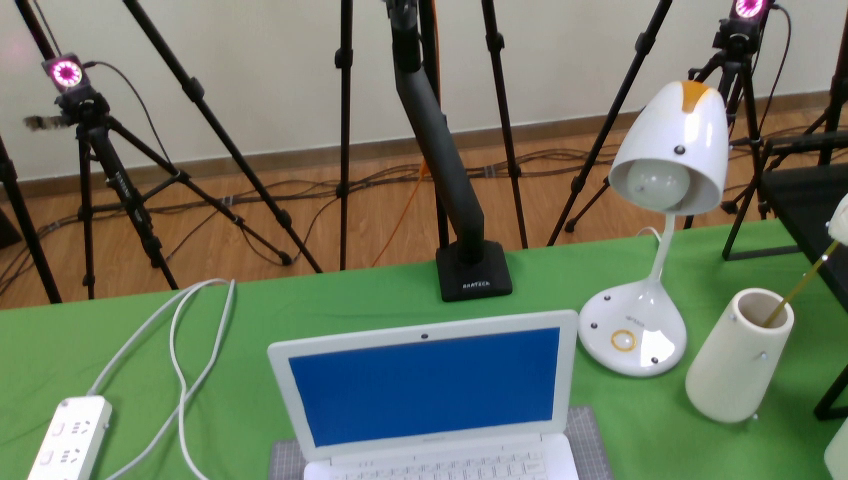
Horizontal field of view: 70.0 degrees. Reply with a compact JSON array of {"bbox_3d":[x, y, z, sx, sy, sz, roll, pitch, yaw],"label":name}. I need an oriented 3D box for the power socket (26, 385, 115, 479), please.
[{"bbox_3d":[-0.488,0.298,0.824,0.072,0.033,0.224,-3,45,0],"label":"power socket"}]

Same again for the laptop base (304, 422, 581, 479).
[{"bbox_3d":[0.027,0.351,0.741,0.354,0.023,0.233,-6,49,-1],"label":"laptop base"}]

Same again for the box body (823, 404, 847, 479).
[{"bbox_3d":[0.633,0.320,0.622,0.254,0.162,0.360,-5,46,0],"label":"box body"}]

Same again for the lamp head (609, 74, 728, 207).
[{"bbox_3d":[0.264,-0.108,0.635,0.112,0.113,0.122,16,68,20],"label":"lamp head"}]

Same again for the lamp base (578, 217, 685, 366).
[{"bbox_3d":[0.318,0.062,0.884,0.159,0.182,0.178,19,48,22],"label":"lamp base"}]

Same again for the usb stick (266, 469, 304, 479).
[{"bbox_3d":[-0.171,0.310,0.779,0.059,0.027,0.021,-1,45,-4],"label":"usb stick"}]

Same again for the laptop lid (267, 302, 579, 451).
[{"bbox_3d":[0.008,0.176,0.746,0.357,0.244,0.013,-8,40,0],"label":"laptop lid"}]

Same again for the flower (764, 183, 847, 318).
[{"bbox_3d":[0.420,0.081,0.729,0.038,0.364,0.043,11,37,-8],"label":"flower"}]

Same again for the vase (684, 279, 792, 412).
[{"bbox_3d":[0.406,0.139,0.789,0.098,0.202,0.097,-3,45,4],"label":"vase"}]
